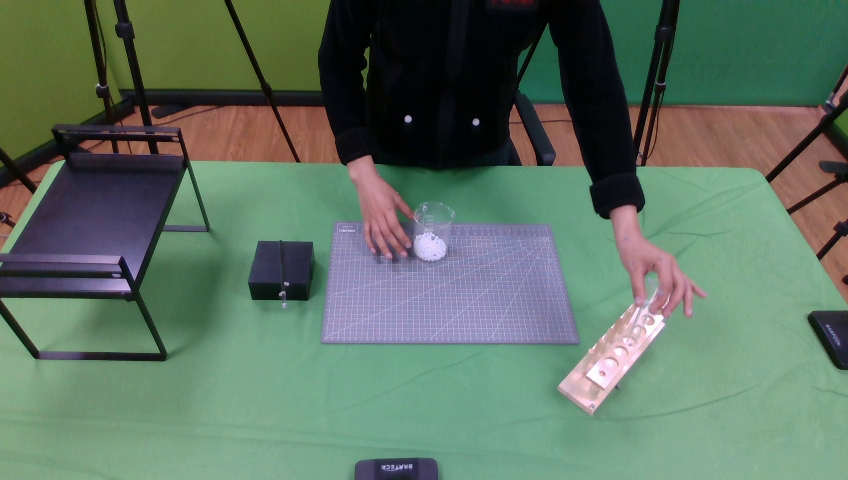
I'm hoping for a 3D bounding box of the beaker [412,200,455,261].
[{"bbox_3d":[0.016,-0.015,1.152,0.084,0.101,0.073,-12,49,-15],"label":"beaker"}]

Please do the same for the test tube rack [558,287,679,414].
[{"bbox_3d":[0.326,0.170,1.009,0.066,0.085,0.242,36,54,26],"label":"test tube rack"}]

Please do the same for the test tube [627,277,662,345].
[{"bbox_3d":[0.330,0.110,0.913,0.017,0.151,0.017,0,45,0],"label":"test tube"}]

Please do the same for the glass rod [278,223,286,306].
[{"bbox_3d":[-0.255,0.039,1.081,0.008,0.008,0.198,-6,47,-10],"label":"glass rod"}]
